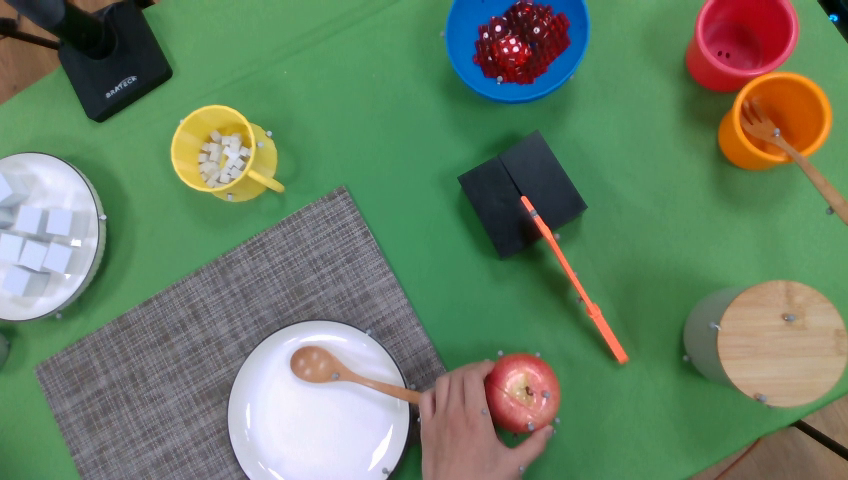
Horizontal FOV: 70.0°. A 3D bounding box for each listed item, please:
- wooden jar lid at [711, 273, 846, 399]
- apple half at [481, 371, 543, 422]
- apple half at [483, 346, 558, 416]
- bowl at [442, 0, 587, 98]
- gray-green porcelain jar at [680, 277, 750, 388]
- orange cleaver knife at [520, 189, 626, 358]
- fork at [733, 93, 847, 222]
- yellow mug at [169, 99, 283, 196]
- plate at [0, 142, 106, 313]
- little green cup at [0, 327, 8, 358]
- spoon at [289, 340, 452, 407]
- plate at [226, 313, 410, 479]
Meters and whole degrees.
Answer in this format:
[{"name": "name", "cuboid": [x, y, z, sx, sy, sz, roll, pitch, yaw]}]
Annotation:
[{"name": "wooden jar lid", "cuboid": [0.304, 0.083, 0.525, 0.108, 0.021, 0.108, 0, 87, 7]}, {"name": "apple half", "cuboid": [0.088, 0.167, 0.630, 0.081, 0.081, 0.033, 29, 91, 9]}, {"name": "apple half", "cuboid": [0.107, 0.141, 0.636, 0.080, 0.075, 0.053, 31, 80, 13]}, {"name": "bowl", "cuboid": [0.098, -0.221, 0.664, 0.151, 0.077, 0.151, -1, 86, 8]}, {"name": "gray-green porcelain jar", "cuboid": [0.314, 0.089, 0.586, 0.106, 0.127, 0.105, -1, 85, 8]}, {"name": "orange cleaver knife", "cuboid": [0.155, 0.037, 0.630, 0.012, 0.076, 0.213, -32, 114, 8]}, {"name": "fork", "cuboid": [0.353, -0.085, 0.582, 0.028, 0.019, 0.205, -13, 40, 5]}, {"name": "yellow mug", "cuboid": [-0.220, -0.098, 0.704, 0.130, 0.064, 0.100, 31, 90, 8]}, {"name": "plate", "cuboid": [-0.484, -0.015, 0.747, 0.207, 0.039, 0.207, -1, 86, 8]}, {"name": "little green cup", "cuboid": [-0.549, 0.128, 0.744, 0.061, 0.039, 0.061, 0, 86, 6]}, {"name": "spoon", "cuboid": [-0.062, 0.150, 0.660, 0.192, 0.022, 0.041, 13, 66, 21]}, {"name": "plate", "cuboid": [-0.116, 0.185, 0.678, 0.209, 0.038, 0.208, -1, 86, 8]}]
